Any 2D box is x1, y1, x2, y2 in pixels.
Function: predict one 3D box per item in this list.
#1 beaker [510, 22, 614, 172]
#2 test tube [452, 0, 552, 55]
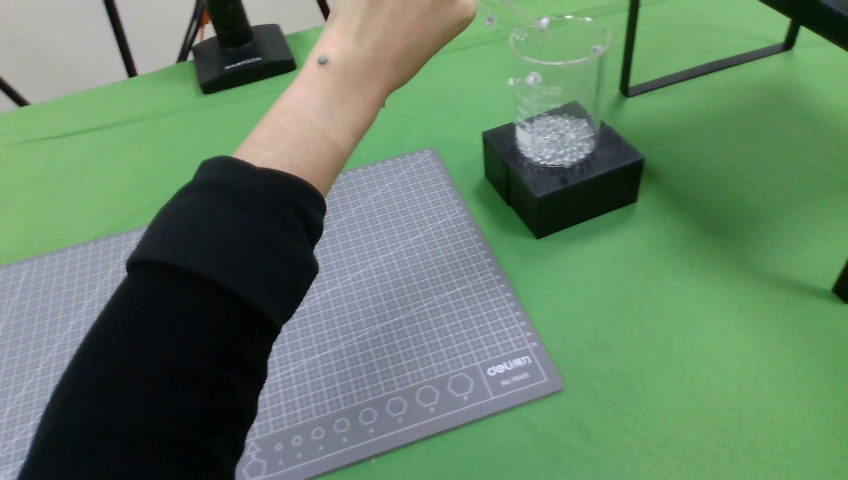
[{"bbox_3d":[0.106,-0.113,0.488,0.074,0.101,0.083,-38,51,-25],"label":"beaker"},{"bbox_3d":[0.029,-0.169,0.417,0.151,0.017,0.017,22,39,-26],"label":"test tube"}]
